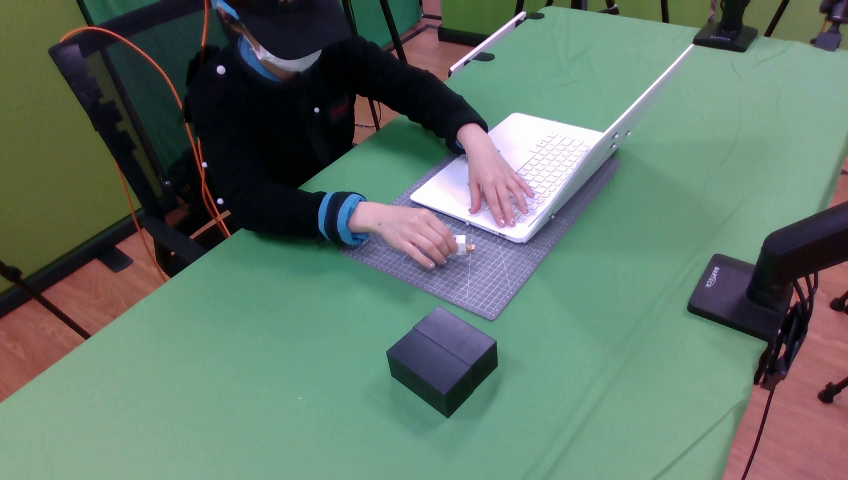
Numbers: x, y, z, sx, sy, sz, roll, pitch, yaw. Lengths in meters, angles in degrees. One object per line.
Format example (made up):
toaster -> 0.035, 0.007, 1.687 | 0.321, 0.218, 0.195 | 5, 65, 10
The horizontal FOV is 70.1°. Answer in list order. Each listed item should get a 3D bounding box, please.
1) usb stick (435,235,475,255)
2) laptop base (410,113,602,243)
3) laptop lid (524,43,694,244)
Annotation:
usb stick -> 0.048, 0.008, 0.920 | 0.059, 0.027, 0.021 | 1, 39, 6
laptop base -> 0.171, -0.127, 1.096 | 0.233, 0.023, 0.355 | 21, 47, 33
laptop lid -> 0.290, -0.151, 0.941 | 0.013, 0.241, 0.358 | 40, 54, 12
